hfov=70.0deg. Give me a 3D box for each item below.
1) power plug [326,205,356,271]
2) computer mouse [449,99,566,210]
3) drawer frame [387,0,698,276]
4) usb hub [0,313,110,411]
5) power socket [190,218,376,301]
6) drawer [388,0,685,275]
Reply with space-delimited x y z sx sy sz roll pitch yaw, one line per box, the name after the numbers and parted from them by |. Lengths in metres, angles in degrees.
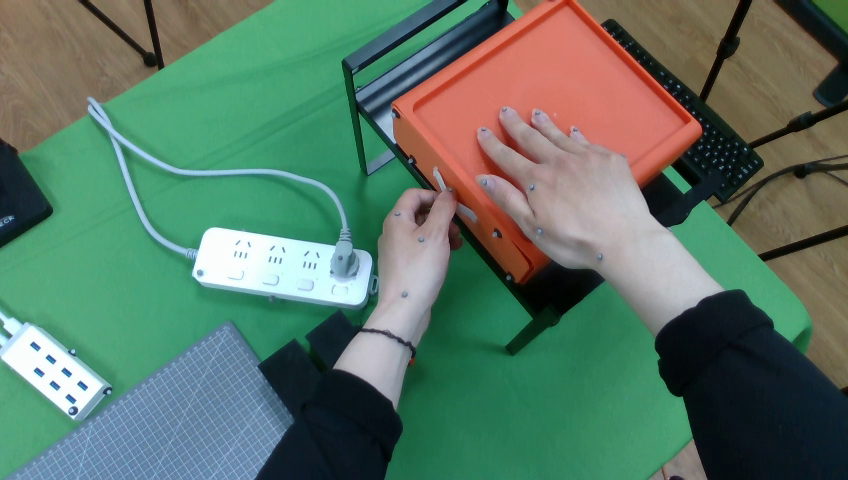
-0.094 0.002 0.733 0.035 0.053 0.072 20 71 4 | power plug
0.081 -0.086 0.589 0.063 0.041 0.116 -41 77 -8 | computer mouse
0.107 -0.109 0.581 0.213 0.083 0.200 -38 78 -13 | drawer frame
-0.430 0.141 0.699 0.125 0.025 0.049 35 76 8 | usb hub
-0.172 0.024 0.742 0.227 0.033 0.072 9 73 1 | power socket
0.105 -0.105 0.581 0.212 0.073 0.193 -36 78 -13 | drawer
